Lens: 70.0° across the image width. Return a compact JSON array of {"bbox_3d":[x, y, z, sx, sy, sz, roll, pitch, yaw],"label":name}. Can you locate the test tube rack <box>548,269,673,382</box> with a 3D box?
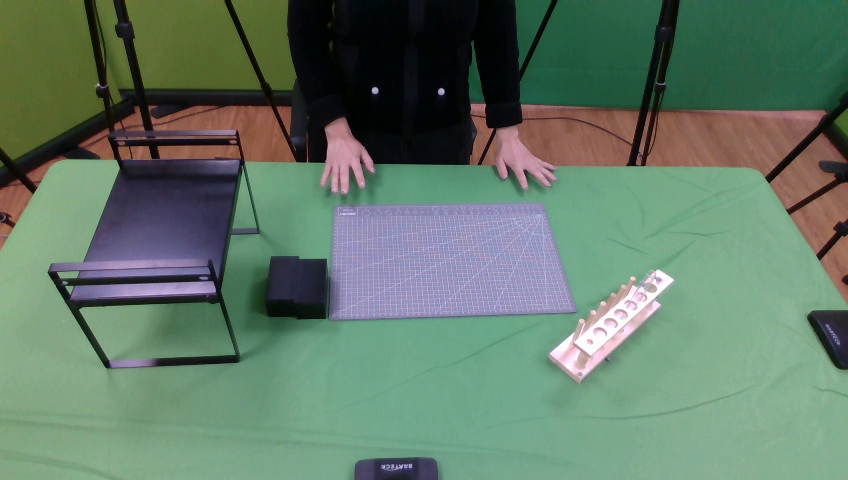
[{"bbox_3d":[0.325,0.134,1.047,0.242,0.085,0.066,-32,56,-30],"label":"test tube rack"}]

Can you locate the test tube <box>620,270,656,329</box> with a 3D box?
[{"bbox_3d":[0.352,0.102,1.012,0.017,0.151,0.017,4,47,-4],"label":"test tube"}]
